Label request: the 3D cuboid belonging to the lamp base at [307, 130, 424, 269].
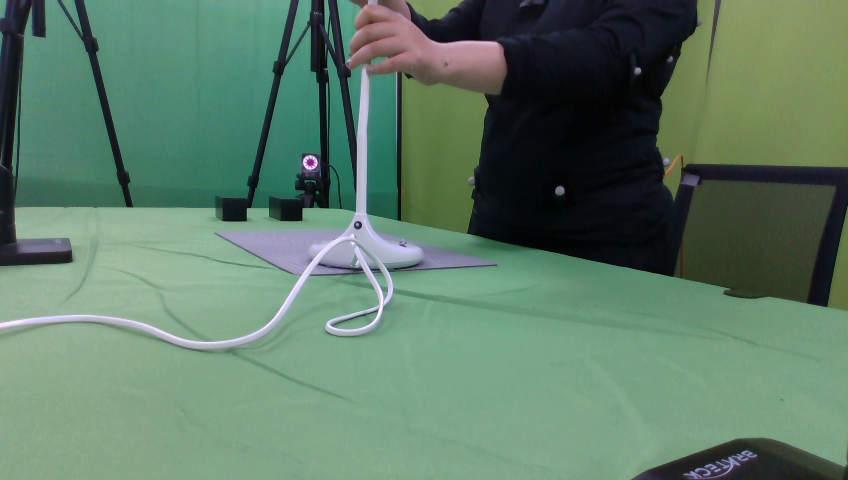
[{"bbox_3d":[-0.077,-0.057,0.811,0.161,0.180,0.179,2,10,-4],"label":"lamp base"}]
